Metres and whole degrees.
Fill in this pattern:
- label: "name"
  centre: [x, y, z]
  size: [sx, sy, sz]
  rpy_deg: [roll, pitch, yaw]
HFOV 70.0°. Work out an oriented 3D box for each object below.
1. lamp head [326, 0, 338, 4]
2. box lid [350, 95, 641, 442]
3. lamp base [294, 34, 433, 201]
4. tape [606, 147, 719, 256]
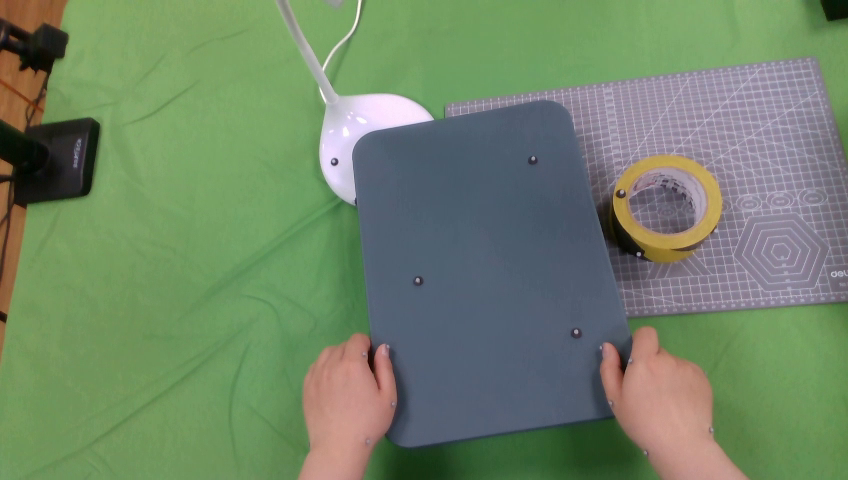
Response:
- label: "lamp head"
  centre: [-0.086, -0.244, 0.421]
  size: [0.123, 0.112, 0.112]
  rpy_deg: [27, 77, -17]
- label: "box lid"
  centre: [0.061, 0.012, 0.654]
  size: [0.263, 0.015, 0.368]
  rpy_deg: [-10, 67, 3]
- label: "lamp base"
  centre: [-0.083, -0.152, 0.706]
  size: [0.178, 0.182, 0.160]
  rpy_deg: [34, 81, 21]
- label: "tape"
  centre: [0.262, -0.043, 0.673]
  size: [0.116, 0.053, 0.116]
  rpy_deg: [-3, 72, 9]
